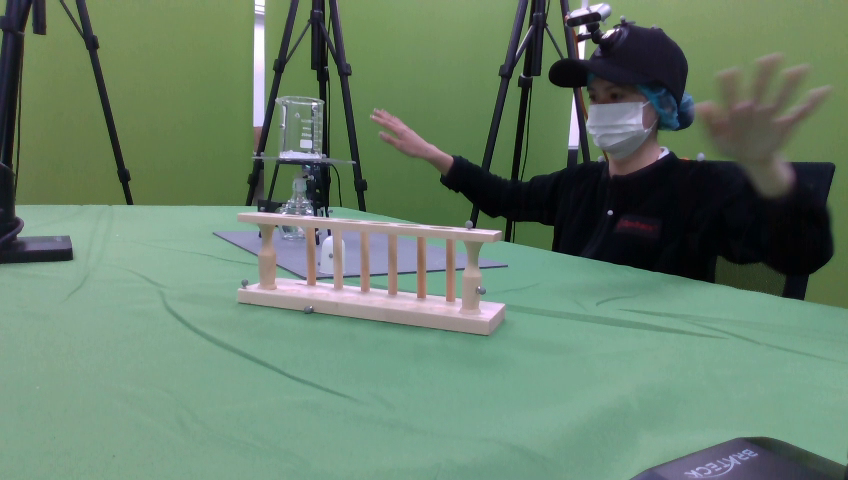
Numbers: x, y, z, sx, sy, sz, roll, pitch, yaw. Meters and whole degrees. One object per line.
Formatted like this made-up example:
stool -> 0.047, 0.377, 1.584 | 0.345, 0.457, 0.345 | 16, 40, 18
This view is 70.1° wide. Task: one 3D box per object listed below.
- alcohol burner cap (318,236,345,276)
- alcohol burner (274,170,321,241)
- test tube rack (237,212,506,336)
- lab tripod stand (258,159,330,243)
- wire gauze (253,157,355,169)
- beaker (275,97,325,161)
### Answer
alcohol burner cap -> -0.110, 0.019, 0.723 | 0.034, 0.048, 0.034 | 2, 6, 0
alcohol burner -> -0.212, -0.058, 1.015 | 0.078, 0.119, 0.078 | 4, 5, 0
test tube rack -> -0.049, 0.024, 0.552 | 0.242, 0.085, 0.067 | 5, 8, 18
lab tripod stand -> -0.202, -0.067, 1.010 | 0.148, 0.131, 0.148 | 2, 5, 0
wire gauze -> -0.197, -0.131, 0.999 | 0.121, 0.011, 0.125 | 7, 5, 21
beaker -> -0.204, -0.179, 0.989 | 0.084, 0.100, 0.073 | -2, 8, -40
